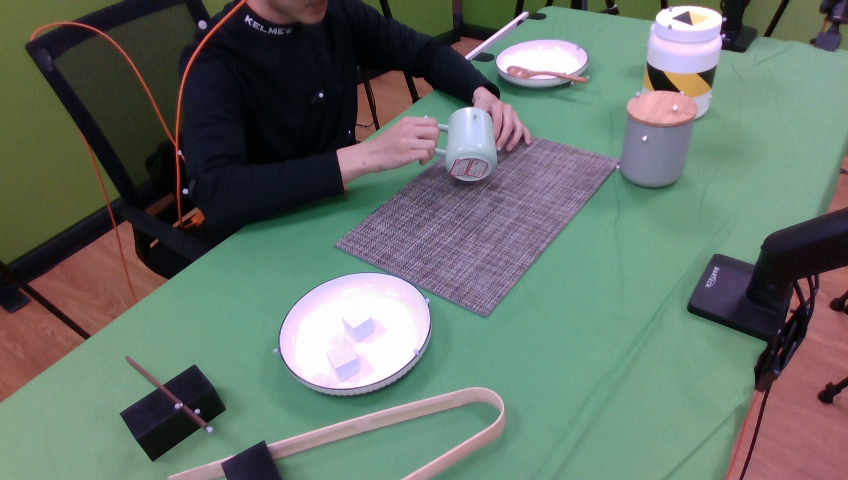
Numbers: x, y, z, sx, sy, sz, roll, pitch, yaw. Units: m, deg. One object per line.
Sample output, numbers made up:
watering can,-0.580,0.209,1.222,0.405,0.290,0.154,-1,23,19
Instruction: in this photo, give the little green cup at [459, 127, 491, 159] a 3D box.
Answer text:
little green cup,0.097,-0.184,1.151,0.061,0.039,0.061,-3,45,4

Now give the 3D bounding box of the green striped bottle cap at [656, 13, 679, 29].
green striped bottle cap,0.515,-0.463,1.278,0.044,0.020,0.044,-6,42,6

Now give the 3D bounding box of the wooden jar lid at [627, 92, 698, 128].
wooden jar lid,0.384,-0.207,0.980,0.108,0.021,0.108,-6,39,5

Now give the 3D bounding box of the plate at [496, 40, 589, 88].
plate,0.269,-0.398,1.381,0.209,0.038,0.208,-4,41,4

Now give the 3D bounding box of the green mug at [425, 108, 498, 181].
green mug,0.065,-0.166,1.049,0.126,0.092,0.104,6,60,-9

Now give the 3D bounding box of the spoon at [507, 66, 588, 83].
spoon,0.265,-0.357,1.311,0.192,0.022,0.042,18,47,38

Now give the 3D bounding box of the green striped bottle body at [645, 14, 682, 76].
green striped bottle body,0.520,-0.424,1.312,0.063,0.120,0.063,-4,40,4

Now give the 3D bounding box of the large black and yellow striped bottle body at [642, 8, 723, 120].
large black and yellow striped bottle body,0.493,-0.334,1.161,0.131,0.185,0.130,-4,41,4

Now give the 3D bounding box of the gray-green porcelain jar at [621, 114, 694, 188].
gray-green porcelain jar,0.390,-0.161,1.020,0.106,0.127,0.105,-4,41,4

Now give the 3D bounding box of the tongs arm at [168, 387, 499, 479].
tongs arm,-0.100,0.230,0.711,0.388,0.028,0.028,-13,32,-7

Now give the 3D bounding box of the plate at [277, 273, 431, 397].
plate,-0.091,0.129,0.821,0.207,0.039,0.206,-4,40,4

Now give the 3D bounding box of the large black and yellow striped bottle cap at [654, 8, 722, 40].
large black and yellow striped bottle cap,0.483,-0.397,1.108,0.115,0.019,0.114,-3,41,3

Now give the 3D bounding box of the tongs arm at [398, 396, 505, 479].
tongs arm,-0.071,0.272,0.652,0.386,0.026,0.050,-21,37,-17

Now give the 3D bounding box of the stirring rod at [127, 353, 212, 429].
stirring rod,-0.311,0.180,0.731,0.175,0.014,0.006,25,53,31
